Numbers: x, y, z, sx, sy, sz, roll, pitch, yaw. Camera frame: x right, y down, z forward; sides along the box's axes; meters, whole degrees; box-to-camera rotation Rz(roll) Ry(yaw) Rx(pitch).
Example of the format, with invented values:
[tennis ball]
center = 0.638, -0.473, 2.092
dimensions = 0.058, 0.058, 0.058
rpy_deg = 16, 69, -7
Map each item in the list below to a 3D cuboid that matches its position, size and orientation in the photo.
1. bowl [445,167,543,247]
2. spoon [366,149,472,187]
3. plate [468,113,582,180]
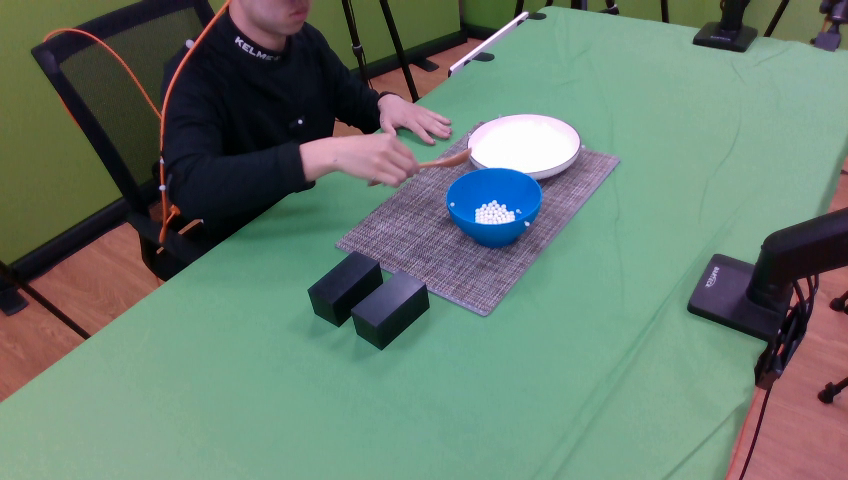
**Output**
[bowl]
center = 0.111, -0.042, 0.952
dimensions = 0.151, 0.077, 0.150
rpy_deg = -4, 41, 4
[spoon]
center = -0.006, -0.118, 0.998
dimensions = 0.194, 0.041, 0.021
rpy_deg = -16, 78, -16
[plate]
center = 0.186, -0.169, 1.122
dimensions = 0.207, 0.039, 0.206
rpy_deg = -4, 40, 4
